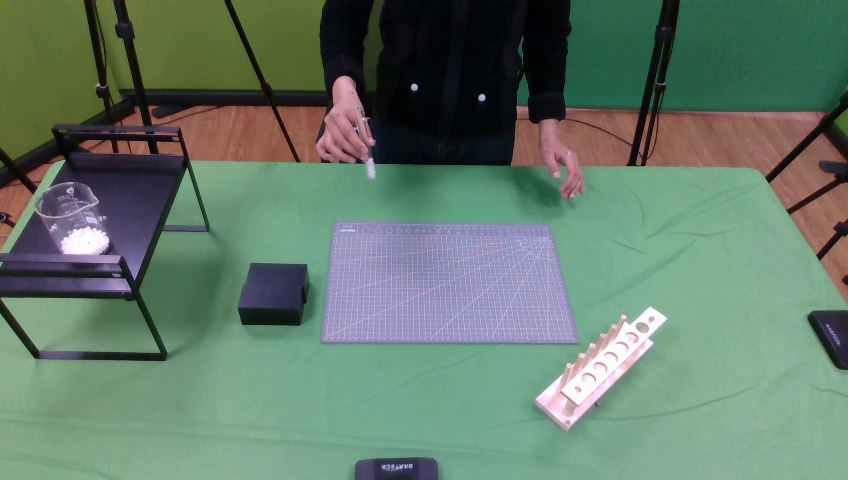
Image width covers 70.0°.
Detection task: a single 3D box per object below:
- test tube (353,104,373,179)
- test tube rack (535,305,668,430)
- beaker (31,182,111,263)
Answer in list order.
[{"bbox_3d":[-0.104,-0.166,1.043,0.017,0.151,0.017,-3,44,3],"label":"test tube"},{"bbox_3d":[0.290,0.193,0.984,0.242,0.085,0.066,-32,57,-30],"label":"test tube rack"},{"bbox_3d":[-0.502,-0.022,0.877,0.084,0.101,0.073,-2,47,-7],"label":"beaker"}]
